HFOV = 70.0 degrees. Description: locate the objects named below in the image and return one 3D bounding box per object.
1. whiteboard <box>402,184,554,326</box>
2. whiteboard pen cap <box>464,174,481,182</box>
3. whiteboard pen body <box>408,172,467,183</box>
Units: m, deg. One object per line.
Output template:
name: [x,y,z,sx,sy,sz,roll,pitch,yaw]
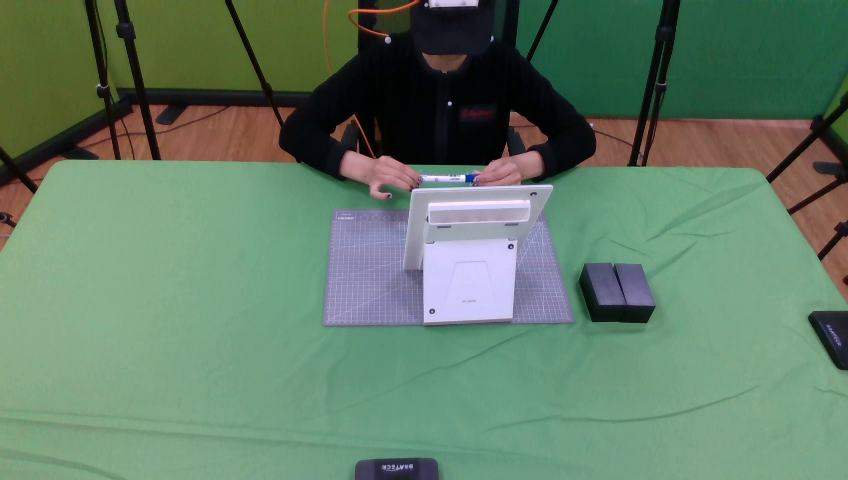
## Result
whiteboard: [0.081,0.044,1.005,0.217,0.306,0.143,-1,65,-6]
whiteboard pen cap: [0.097,-0.125,1.222,0.033,0.018,0.018,0,46,2]
whiteboard pen body: [0.038,-0.125,1.223,0.141,0.017,0.017,3,46,-2]
